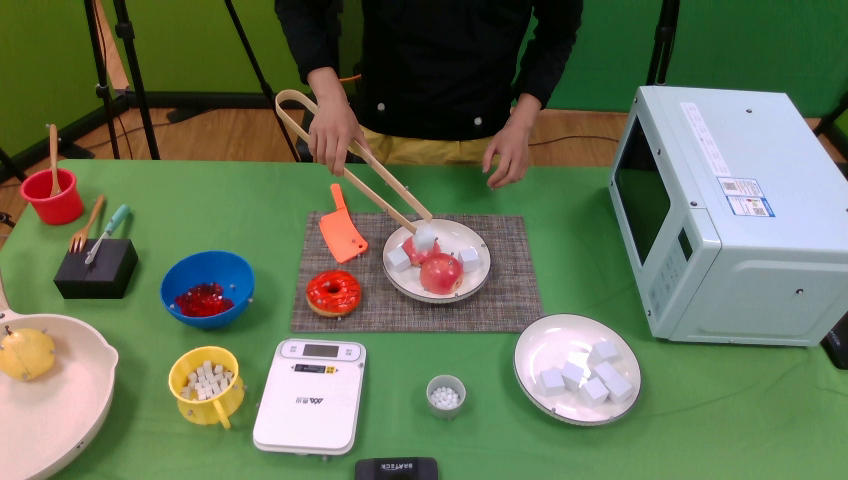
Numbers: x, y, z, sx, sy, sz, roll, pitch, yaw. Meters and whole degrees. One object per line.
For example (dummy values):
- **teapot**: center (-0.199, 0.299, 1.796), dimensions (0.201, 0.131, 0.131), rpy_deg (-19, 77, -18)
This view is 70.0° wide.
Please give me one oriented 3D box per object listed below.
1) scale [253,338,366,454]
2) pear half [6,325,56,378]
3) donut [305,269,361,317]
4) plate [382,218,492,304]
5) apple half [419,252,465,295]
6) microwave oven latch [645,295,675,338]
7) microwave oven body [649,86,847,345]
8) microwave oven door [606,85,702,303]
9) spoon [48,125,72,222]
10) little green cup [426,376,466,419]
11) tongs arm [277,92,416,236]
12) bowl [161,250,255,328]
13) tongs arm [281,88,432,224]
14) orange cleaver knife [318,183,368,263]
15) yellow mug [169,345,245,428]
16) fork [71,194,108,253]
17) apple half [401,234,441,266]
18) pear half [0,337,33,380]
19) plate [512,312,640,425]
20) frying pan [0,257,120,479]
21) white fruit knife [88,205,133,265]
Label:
- **scale**: center (-0.175, 0.236, 0.951), dimensions (0.149, 0.032, 0.199), rpy_deg (4, 45, -1)
- **pear half**: center (-0.608, 0.158, 0.935), dimensions (0.076, 0.110, 0.056), rpy_deg (31, 51, 20)
- **donut**: center (-0.160, 0.094, 1.075), dimensions (0.099, 0.048, 0.098), rpy_deg (3, 46, -3)
- **plate**: center (0.023, 0.042, 1.143), dimensions (0.209, 0.038, 0.208), rpy_deg (2, 46, -2)
- **apple half**: center (0.035, 0.056, 1.109), dimensions (0.074, 0.053, 0.081), rpy_deg (38, 56, 25)
- **microwave oven latch**: center (0.412, 0.134, 1.061), dimensions (0.030, 0.029, 0.078), rpy_deg (3, 45, 0)
- **microwave oven body**: center (0.567, -0.053, 1.118), dimensions (0.326, 0.261, 0.439), rpy_deg (2, 45, -1)
- **microwave oven door**: center (0.423, -0.094, 1.140), dimensions (0.039, 0.245, 0.353), rpy_deg (2, 46, -1)
- **spoon**: center (-0.718, -0.131, 1.188), dimensions (0.041, 0.021, 0.193), rpy_deg (-3, 90, -6)
- **little green cup**: center (0.033, 0.248, 0.950), dimensions (0.061, 0.039, 0.061), rpy_deg (2, 46, -2)
- **tongs arm**: center (-0.151, -0.142, 1.116), dimensions (0.386, 0.028, 0.028), rpy_deg (44, 65, 14)
- **bowl**: center (-0.362, 0.098, 1.039), dimensions (0.151, 0.077, 0.150), rpy_deg (2, 45, -2)
- **tongs arm**: center (-0.132, -0.158, 1.130), dimensions (0.051, 0.026, 0.383), rpy_deg (-36, 73, -26)
- **orange cleaver knife**: center (-0.173, -0.037, 1.218), dimensions (0.077, 0.012, 0.210), rpy_deg (-17, 51, -11)
- **yellow mug**: center (-0.322, 0.230, 0.922), dimensions (0.100, 0.064, 0.130), rpy_deg (-24, 53, -25)
- **fork**: center (-0.634, -0.036, 1.158), dimensions (0.028, 0.019, 0.206), rpy_deg (-8, 32, -8)
- **apple half**: center (-0.004, 0.014, 1.159), dimensions (0.081, 0.033, 0.081), rpy_deg (5, 44, -5)
- **pear half**: center (-0.631, 0.184, 0.921), dimensions (0.070, 0.088, 0.031), rpy_deg (29, 49, 19)
- **plate**: center (0.246, 0.213, 0.999), dimensions (0.208, 0.039, 0.206), rpy_deg (2, 46, -2)
- **frying pan**: center (-0.647, 0.164, 0.936), dimensions (0.307, 0.103, 0.485), rpy_deg (-19, 58, -22)
- **white fruit knife**: center (-0.584, -0.013, 1.129), dimensions (0.016, 0.027, 0.206), rpy_deg (0, 32, -5)
